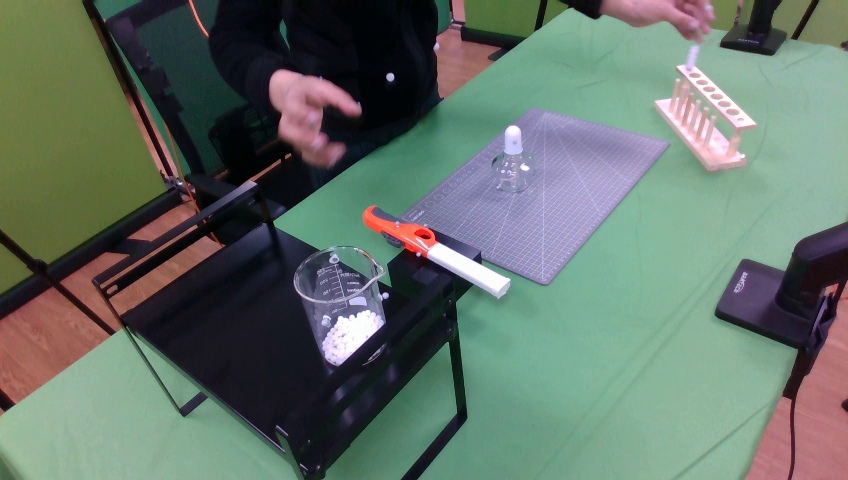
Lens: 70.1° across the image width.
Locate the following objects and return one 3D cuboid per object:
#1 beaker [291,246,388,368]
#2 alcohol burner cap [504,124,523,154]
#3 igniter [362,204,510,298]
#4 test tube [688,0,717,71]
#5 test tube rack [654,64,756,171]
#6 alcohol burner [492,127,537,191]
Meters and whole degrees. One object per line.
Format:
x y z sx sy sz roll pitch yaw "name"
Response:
-0.073 0.066 0.572 0.084 0.101 0.073 -7 41 0 "beaker"
0.151 -0.172 1.022 0.034 0.048 0.033 -4 36 3 "alcohol burner cap"
0.007 0.009 0.887 0.274 0.025 0.057 29 50 32 "igniter"
0.468 -0.354 1.012 0.017 0.151 0.017 0 41 1 "test tube"
0.510 -0.233 1.120 0.067 0.085 0.241 -8 41 -1 "test tube rack"
0.156 -0.146 1.046 0.078 0.119 0.077 -4 43 4 "alcohol burner"
